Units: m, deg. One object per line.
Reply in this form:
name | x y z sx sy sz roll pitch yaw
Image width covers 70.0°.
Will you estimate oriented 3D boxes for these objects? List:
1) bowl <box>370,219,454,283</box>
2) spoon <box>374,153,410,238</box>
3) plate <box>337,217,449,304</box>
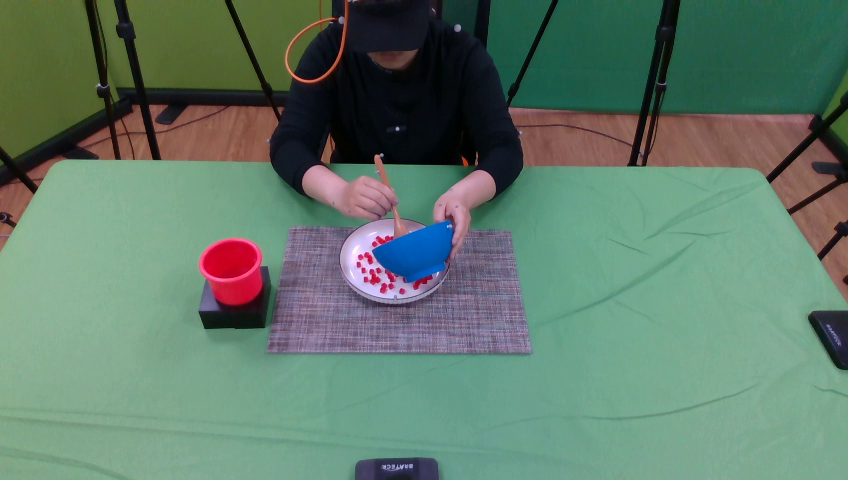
bowl | -0.009 0.026 1.055 0.151 0.151 0.076 -19 87 -20
spoon | -0.056 -0.062 1.088 0.041 0.194 0.021 -16 8 18
plate | -0.058 0.042 1.136 0.208 0.039 0.206 2 46 -2
